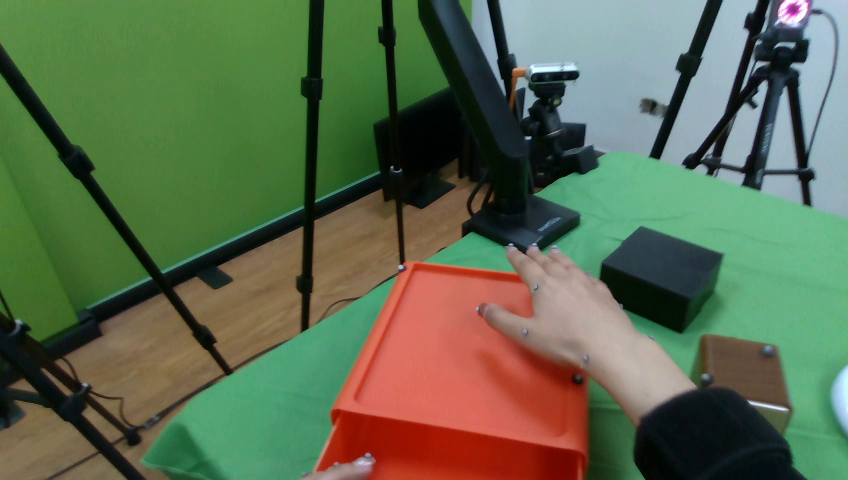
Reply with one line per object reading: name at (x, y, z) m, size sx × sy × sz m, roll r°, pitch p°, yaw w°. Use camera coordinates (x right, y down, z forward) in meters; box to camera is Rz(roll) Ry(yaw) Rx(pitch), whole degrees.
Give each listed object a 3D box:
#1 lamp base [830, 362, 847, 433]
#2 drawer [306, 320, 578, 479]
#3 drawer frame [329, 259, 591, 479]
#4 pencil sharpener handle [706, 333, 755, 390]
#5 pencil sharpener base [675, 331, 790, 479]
lamp base at (0.442, 0.087, 0.489) m, size 0.160 × 0.181 × 0.178 m, roll 7°, pitch 32°, yaw 14°
drawer at (0.027, 0.162, 0.492) m, size 0.194 × 0.074 × 0.210 m, roll 5°, pitch 34°, yaw 13°
drawer frame at (0.046, 0.116, 0.560) m, size 0.201 × 0.083 × 0.212 m, roll 5°, pitch 33°, yaw 13°
pencil sharpener handle at (0.260, 0.099, 0.526) m, size 0.036 × 0.068 × 0.030 m, roll 14°, pitch 36°, yaw 13°
pencil sharpener base at (0.245, 0.137, 0.492) m, size 0.061 × 0.108 × 0.076 m, roll 9°, pitch 35°, yaw 17°
